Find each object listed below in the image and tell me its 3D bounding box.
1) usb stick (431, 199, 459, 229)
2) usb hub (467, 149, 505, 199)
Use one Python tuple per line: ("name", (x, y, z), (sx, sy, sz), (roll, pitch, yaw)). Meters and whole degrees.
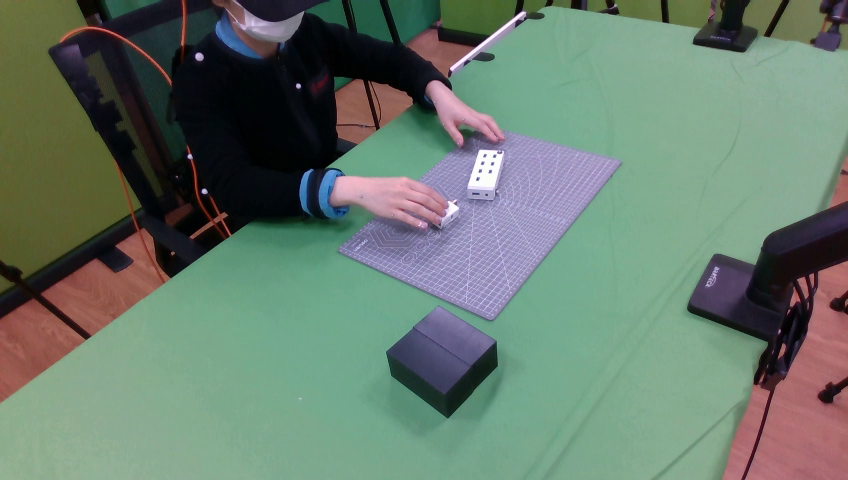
("usb stick", (0.039, -0.046, 1.009), (0.027, 0.021, 0.059), (33, 56, 24))
("usb hub", (0.112, -0.119, 1.084), (0.049, 0.025, 0.125), (6, 42, 14))
